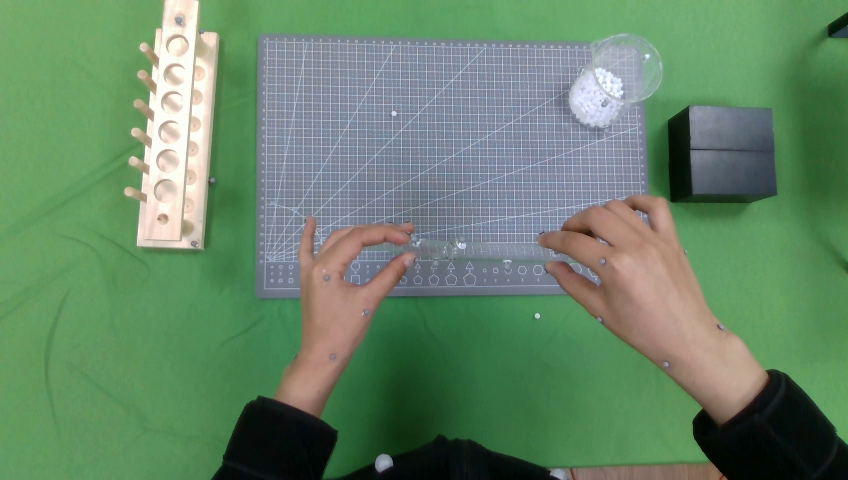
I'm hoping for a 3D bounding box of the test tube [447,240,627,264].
[{"bbox_3d":[0.093,0.011,0.492,0.151,0.017,0.017,2,83,-7],"label":"test tube"}]

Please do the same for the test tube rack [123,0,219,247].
[{"bbox_3d":[-0.266,-0.118,0.629,0.067,0.085,0.241,3,84,-5],"label":"test tube rack"}]

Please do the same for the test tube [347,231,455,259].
[{"bbox_3d":[-0.026,0.003,0.543,0.017,0.149,0.017,-4,97,-39],"label":"test tube"}]

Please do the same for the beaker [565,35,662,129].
[{"bbox_3d":[0.201,-0.171,0.670,0.084,0.100,0.074,37,81,1],"label":"beaker"}]
